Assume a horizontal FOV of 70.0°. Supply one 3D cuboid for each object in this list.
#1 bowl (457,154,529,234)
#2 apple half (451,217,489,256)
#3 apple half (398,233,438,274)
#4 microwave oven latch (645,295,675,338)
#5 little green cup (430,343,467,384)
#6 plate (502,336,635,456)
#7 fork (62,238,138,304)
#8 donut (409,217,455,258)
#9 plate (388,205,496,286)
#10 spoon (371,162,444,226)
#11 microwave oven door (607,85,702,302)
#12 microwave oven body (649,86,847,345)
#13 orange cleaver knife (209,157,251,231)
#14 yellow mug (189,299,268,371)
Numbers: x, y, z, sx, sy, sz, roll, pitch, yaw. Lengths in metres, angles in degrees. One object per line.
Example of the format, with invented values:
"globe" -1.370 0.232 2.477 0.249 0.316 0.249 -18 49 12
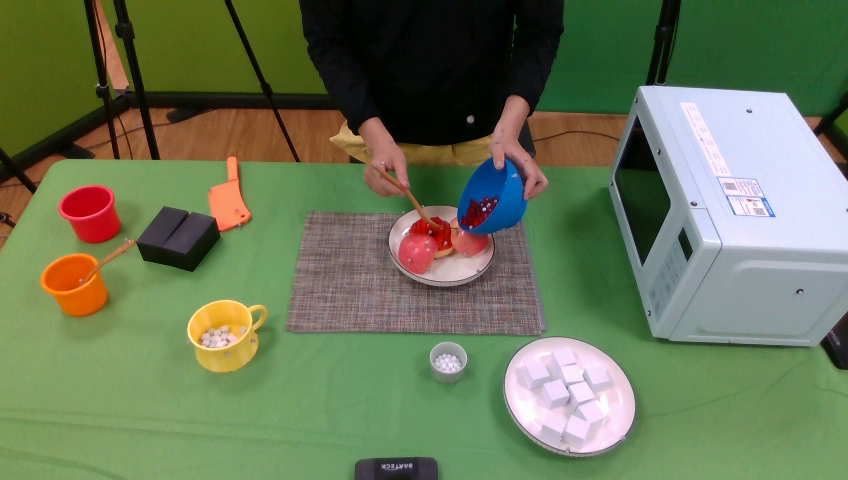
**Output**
"bowl" 0.134 -0.070 1.088 0.077 0.151 0.150 25 41 -23
"apple half" 0.093 -0.013 1.158 0.075 0.053 0.080 35 40 -27
"apple half" -0.016 0.022 1.123 0.081 0.033 0.081 -2 83 14
"microwave oven latch" 0.412 0.134 1.061 0.030 0.029 0.078 3 45 0
"little green cup" 0.039 0.203 0.993 0.061 0.039 0.061 2 46 -2
"plate" 0.225 0.248 0.964 0.208 0.039 0.206 2 46 -2
"fork" -0.547 0.053 1.018 0.207 0.019 0.028 -36 41 23
"donut" 0.020 -0.006 1.174 0.099 0.048 0.098 2 43 -2
"plate" 0.033 0.014 1.171 0.209 0.038 0.208 2 46 -2
"spoon" -0.029 -0.081 1.095 0.021 0.195 0.041 -44 33 2
"microwave oven door" 0.423 -0.094 1.141 0.039 0.245 0.353 2 46 -1
"microwave oven body" 0.568 -0.053 1.118 0.326 0.261 0.439 2 45 -1
"orange cleaver knife" -0.409 -0.099 1.266 0.077 0.012 0.210 -14 50 -10
"yellow mug" -0.316 0.148 1.002 0.131 0.064 0.099 -33 56 -31
